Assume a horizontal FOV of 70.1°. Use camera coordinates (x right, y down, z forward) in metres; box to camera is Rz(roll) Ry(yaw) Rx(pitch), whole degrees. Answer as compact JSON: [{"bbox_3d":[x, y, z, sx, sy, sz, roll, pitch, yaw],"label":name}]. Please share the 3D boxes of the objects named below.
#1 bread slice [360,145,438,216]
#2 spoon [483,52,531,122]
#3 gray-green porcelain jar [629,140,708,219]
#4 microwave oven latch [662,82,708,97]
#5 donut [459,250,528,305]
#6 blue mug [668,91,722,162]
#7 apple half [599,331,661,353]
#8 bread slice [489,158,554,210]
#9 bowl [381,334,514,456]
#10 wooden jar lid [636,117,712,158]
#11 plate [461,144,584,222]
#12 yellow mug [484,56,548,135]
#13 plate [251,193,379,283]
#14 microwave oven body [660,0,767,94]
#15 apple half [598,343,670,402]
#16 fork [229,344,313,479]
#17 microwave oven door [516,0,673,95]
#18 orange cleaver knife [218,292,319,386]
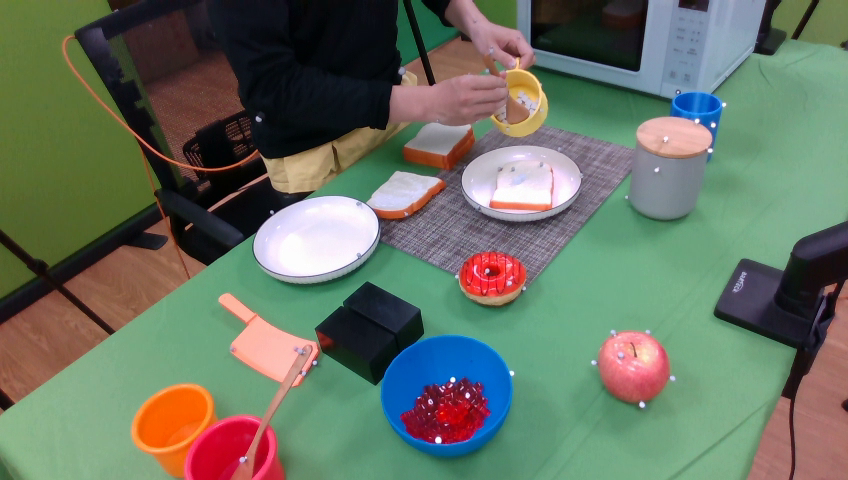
[{"bbox_3d":[-0.053,-0.103,1.046,0.106,0.018,0.134,18,66,23],"label":"bread slice"},{"bbox_3d":[0.126,-0.235,0.946,0.041,0.195,0.021,-21,60,18],"label":"spoon"},{"bbox_3d":[0.383,-0.105,0.958,0.106,0.127,0.105,-4,41,4],"label":"gray-green porcelain jar"},{"bbox_3d":[0.518,-0.298,1.202,0.078,0.029,0.030,28,53,35],"label":"microwave oven latch"},{"bbox_3d":[0.100,0.053,0.873,0.099,0.048,0.098,-5,40,4],"label":"donut"},{"bbox_3d":[0.474,-0.207,1.078,0.082,0.106,0.116,4,42,13],"label":"blue mug"},{"bbox_3d":[0.249,0.134,0.738,0.081,0.081,0.032,-1,46,7],"label":"apple half"},{"bbox_3d":[0.173,-0.100,1.047,0.104,0.019,0.131,4,42,12],"label":"bread slice"},{"bbox_3d":[0.029,0.192,0.701,0.151,0.077,0.150,-4,40,4],"label":"bowl"},{"bbox_3d":[0.377,-0.151,0.917,0.108,0.021,0.108,-2,41,2],"label":"wooden jar lid"},{"bbox_3d":[0.168,-0.095,1.040,0.207,0.039,0.206,-4,40,4],"label":"plate"},{"bbox_3d":[0.161,-0.254,1.047,0.099,0.064,0.130,2,84,19],"label":"yellow mug"},{"bbox_3d":[-0.174,-0.001,0.985,0.209,0.038,0.208,-4,41,4],"label":"plate"},{"bbox_3d":[0.473,-0.516,1.313,0.438,0.261,0.327,26,51,34],"label":"microwave oven body"},{"bbox_3d":[0.247,0.161,0.710,0.081,0.075,0.053,2,47,5],"label":"apple half"},{"bbox_3d":[-0.173,0.205,0.662,0.028,0.019,0.207,29,94,36],"label":"fork"},{"bbox_3d":[0.344,-0.458,1.257,0.353,0.245,0.039,26,52,33],"label":"microwave oven door"},{"bbox_3d":[-0.235,0.136,0.850,0.209,0.012,0.077,25,56,30],"label":"orange cleaver knife"}]
